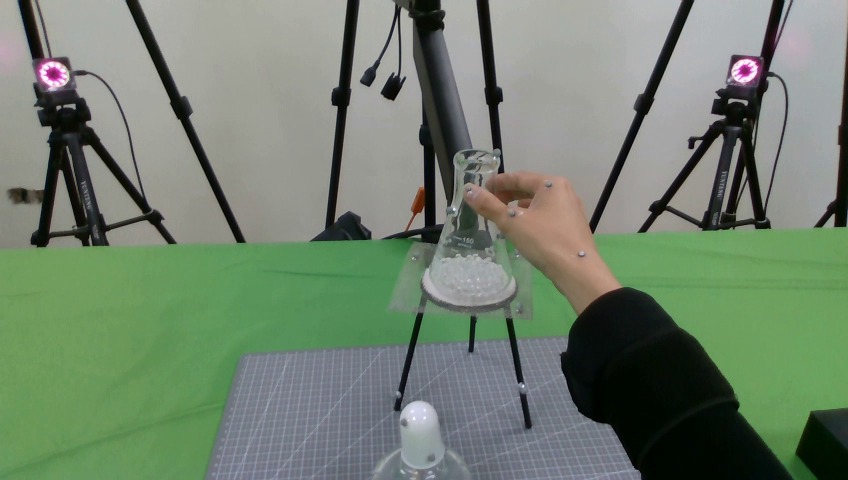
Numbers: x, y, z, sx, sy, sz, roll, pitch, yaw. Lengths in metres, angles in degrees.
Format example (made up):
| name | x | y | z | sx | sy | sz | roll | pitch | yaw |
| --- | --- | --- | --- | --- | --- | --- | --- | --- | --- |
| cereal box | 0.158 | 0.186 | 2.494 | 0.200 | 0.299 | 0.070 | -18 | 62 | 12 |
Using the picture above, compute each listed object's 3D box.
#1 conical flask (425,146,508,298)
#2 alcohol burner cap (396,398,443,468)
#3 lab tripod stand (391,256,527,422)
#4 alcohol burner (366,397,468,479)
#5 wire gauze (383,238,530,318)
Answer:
| name | x | y | z | sx | sy | sz | roll | pitch | yaw |
| --- | --- | --- | --- | --- | --- | --- | --- | --- | --- |
| conical flask | 0.039 | -0.017 | 0.519 | 0.075 | 0.123 | 0.074 | 1 | 27 | 0 |
| alcohol burner cap | -0.005 | 0.136 | 0.436 | 0.034 | 0.048 | 0.033 | -4 | 31 | 3 |
| lab tripod stand | 0.041 | 0.093 | 0.579 | 0.148 | 0.132 | 0.147 | 2 | 27 | -1 |
| alcohol burner | -0.005 | 0.168 | 0.454 | 0.078 | 0.120 | 0.077 | 0 | 26 | 0 |
| wire gauze | 0.035 | 0.034 | 0.549 | 0.121 | 0.011 | 0.124 | 5 | 29 | 8 |
